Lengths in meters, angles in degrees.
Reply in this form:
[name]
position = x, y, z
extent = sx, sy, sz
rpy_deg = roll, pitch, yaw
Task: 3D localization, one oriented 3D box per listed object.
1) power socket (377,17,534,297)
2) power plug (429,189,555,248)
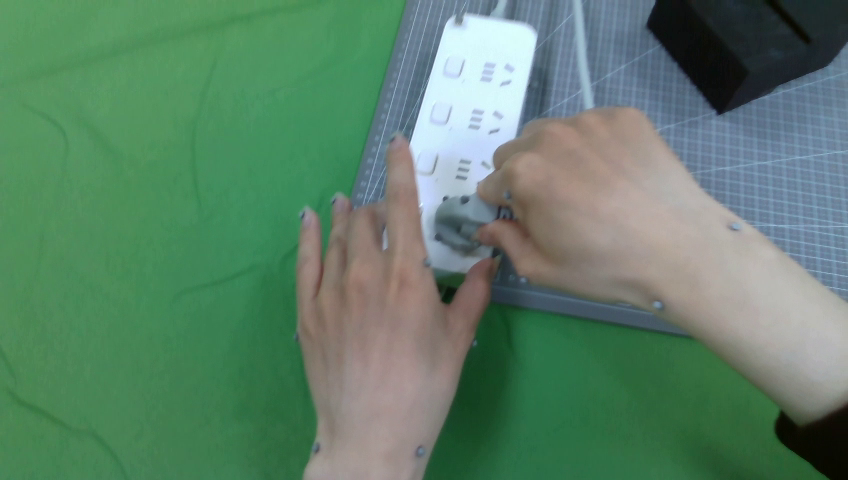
[power socket]
position = 0.026, -0.069, 0.429
extent = 0.072, 0.033, 0.225
rpy_deg = 13, 66, 6
[power plug]
position = 0.038, -0.005, 0.378
extent = 0.072, 0.053, 0.035
rpy_deg = 25, 66, 9
